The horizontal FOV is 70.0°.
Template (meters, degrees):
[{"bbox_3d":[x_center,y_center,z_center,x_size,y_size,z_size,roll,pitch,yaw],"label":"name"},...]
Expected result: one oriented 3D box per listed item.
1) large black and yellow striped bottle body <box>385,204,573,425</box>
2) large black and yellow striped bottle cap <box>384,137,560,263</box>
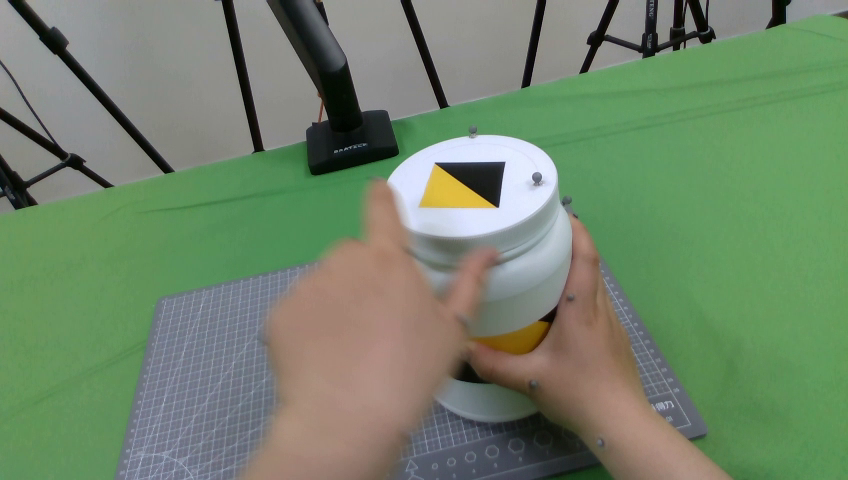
[{"bbox_3d":[0.044,0.034,0.452,0.130,0.186,0.129,-7,40,6],"label":"large black and yellow striped bottle body"},{"bbox_3d":[0.030,-0.030,0.397,0.115,0.019,0.114,-8,39,7],"label":"large black and yellow striped bottle cap"}]
